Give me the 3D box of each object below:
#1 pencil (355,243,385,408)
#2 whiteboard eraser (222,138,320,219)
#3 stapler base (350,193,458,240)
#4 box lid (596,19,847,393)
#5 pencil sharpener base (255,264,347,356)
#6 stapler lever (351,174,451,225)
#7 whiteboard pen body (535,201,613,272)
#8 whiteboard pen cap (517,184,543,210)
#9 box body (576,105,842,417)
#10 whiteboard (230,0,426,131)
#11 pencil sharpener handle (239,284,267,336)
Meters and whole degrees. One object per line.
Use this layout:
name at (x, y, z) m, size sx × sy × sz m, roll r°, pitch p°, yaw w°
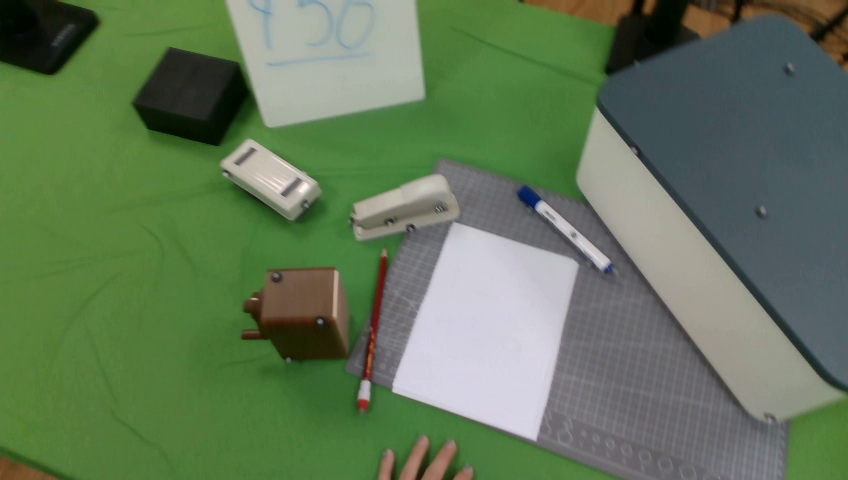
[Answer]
pencil at (-0.057, 0.087, 0.664) m, size 0.012 × 0.012 × 0.192 m, roll 5°, pitch 61°, yaw 2°
whiteboard eraser at (-0.185, -0.073, 0.732) m, size 0.112 × 0.042 × 0.055 m, roll 34°, pitch 68°, yaw 15°
stapler base at (-0.024, -0.035, 0.724) m, size 0.131 × 0.024 × 0.041 m, roll -13°, pitch 58°, yaw -5°
box lid at (0.365, -0.064, 0.585) m, size 0.263 × 0.015 × 0.368 m, roll -23°, pitch 65°, yaw -14°
pencil sharpener base at (-0.122, 0.074, 0.615) m, size 0.077 × 0.108 × 0.061 m, roll -1°, pitch 61°, yaw -1°
stapler lever at (-0.027, -0.047, 0.702) m, size 0.118 × 0.040 × 0.026 m, roll -13°, pitch 58°, yaw -5°
whiteboard pen body at (0.167, -0.013, 0.714) m, size 0.017 × 0.017 × 0.139 m, roll -35°, pitch 65°, yaw -19°
whiteboard pen cap at (0.129, -0.051, 0.737) m, size 0.018 × 0.018 × 0.033 m, roll -35°, pitch 65°, yaw -19°
box body at (0.364, -0.026, 0.648) m, size 0.254 × 0.161 × 0.360 m, roll -24°, pitch 64°, yaw -14°
whiteboard at (-0.127, -0.323, 0.756) m, size 0.217 × 0.308 × 0.142 m, roll -12°, pitch 43°, yaw -7°
pencil sharpener handle at (-0.173, 0.073, 0.600) m, size 0.030 × 0.068 × 0.035 m, roll -1°, pitch 45°, yaw -1°
